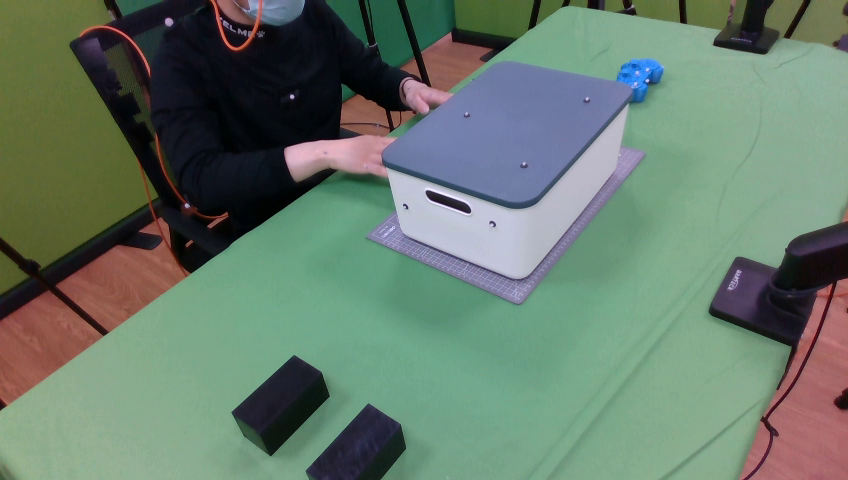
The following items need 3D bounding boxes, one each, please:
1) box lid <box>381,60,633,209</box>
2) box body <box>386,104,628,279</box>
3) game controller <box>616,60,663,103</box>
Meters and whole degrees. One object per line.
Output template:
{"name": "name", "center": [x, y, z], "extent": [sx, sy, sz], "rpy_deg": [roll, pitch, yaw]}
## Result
{"name": "box lid", "center": [0.137, -0.182, 0.935], "extent": [0.261, 0.015, 0.372], "rpy_deg": [22, 48, 29]}
{"name": "box body", "center": [0.142, -0.125, 0.982], "extent": [0.252, 0.161, 0.365], "rpy_deg": [22, 48, 29]}
{"name": "game controller", "center": [0.442, -0.345, 1.288], "extent": [0.096, 0.052, 0.155], "rpy_deg": [25, 50, 27]}
